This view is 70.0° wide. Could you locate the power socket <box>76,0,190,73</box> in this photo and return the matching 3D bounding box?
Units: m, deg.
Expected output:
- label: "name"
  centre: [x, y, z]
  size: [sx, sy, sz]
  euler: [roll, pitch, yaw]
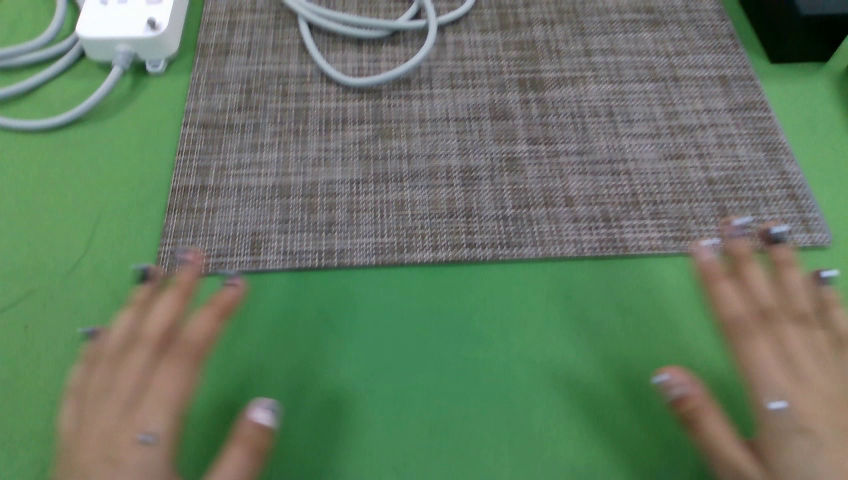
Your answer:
- label: "power socket"
  centre: [-0.235, -0.235, 0.519]
  size: [0.072, 0.033, 0.224]
  euler: [-2, 60, -2]
